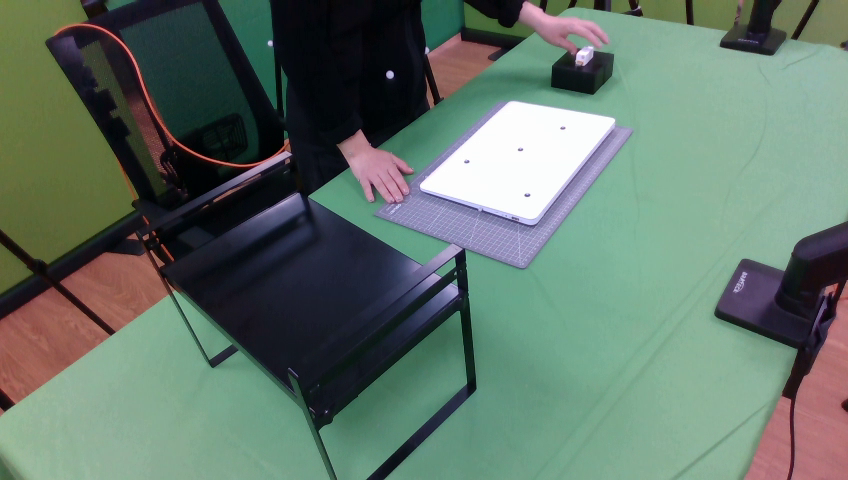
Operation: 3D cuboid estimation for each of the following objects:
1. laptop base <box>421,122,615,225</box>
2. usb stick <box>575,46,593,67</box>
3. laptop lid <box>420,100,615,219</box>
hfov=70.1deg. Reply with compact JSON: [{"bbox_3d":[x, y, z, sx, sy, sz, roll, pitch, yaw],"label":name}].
[{"bbox_3d":[0.183,-0.157,1.132,0.234,0.023,0.355,18,46,31],"label":"laptop base"},{"bbox_3d":[0.343,-0.394,1.302,0.021,0.027,0.059,20,51,29],"label":"usb stick"},{"bbox_3d":[0.180,-0.166,1.125,0.240,0.013,0.357,20,47,31],"label":"laptop lid"}]
